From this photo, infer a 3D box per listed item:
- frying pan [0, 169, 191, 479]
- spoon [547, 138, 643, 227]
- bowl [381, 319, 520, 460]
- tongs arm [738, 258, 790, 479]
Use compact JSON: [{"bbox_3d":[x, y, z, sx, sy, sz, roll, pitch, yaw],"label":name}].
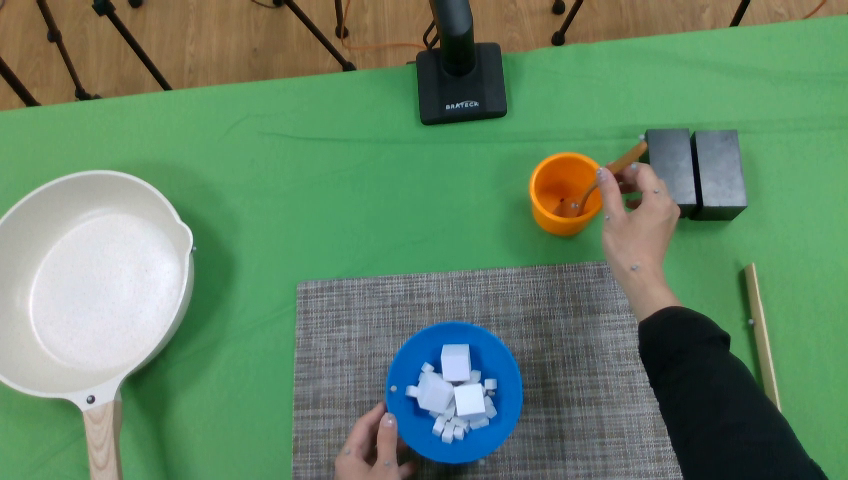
[{"bbox_3d":[-0.401,0.141,0.732,0.307,0.103,0.483,-20,64,1],"label":"frying pan"},{"bbox_3d":[0.188,-0.063,0.686,0.022,0.194,0.041,7,68,-11],"label":"spoon"},{"bbox_3d":[0.032,0.170,0.689,0.151,0.077,0.150,-1,73,5],"label":"bowl"},{"bbox_3d":[0.397,0.207,0.673,0.028,0.028,0.385,-5,73,3],"label":"tongs arm"}]
